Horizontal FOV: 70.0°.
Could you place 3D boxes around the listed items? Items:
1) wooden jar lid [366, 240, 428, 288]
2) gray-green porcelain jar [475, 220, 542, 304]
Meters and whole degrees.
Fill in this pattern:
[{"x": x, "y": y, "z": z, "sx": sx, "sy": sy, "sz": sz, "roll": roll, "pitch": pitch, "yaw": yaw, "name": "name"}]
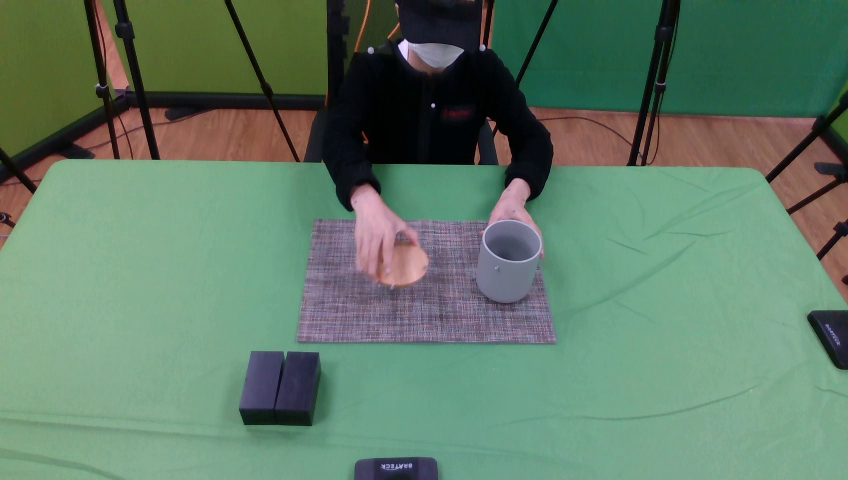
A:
[{"x": -0.048, "y": 0.044, "z": 1.063, "sx": 0.108, "sy": 0.021, "sz": 0.107, "roll": 3, "pitch": 46, "yaw": -3, "name": "wooden jar lid"}, {"x": 0.148, "y": 0.044, "z": 1.090, "sx": 0.106, "sy": 0.127, "sz": 0.105, "roll": 2, "pitch": 46, "yaw": -2, "name": "gray-green porcelain jar"}]
